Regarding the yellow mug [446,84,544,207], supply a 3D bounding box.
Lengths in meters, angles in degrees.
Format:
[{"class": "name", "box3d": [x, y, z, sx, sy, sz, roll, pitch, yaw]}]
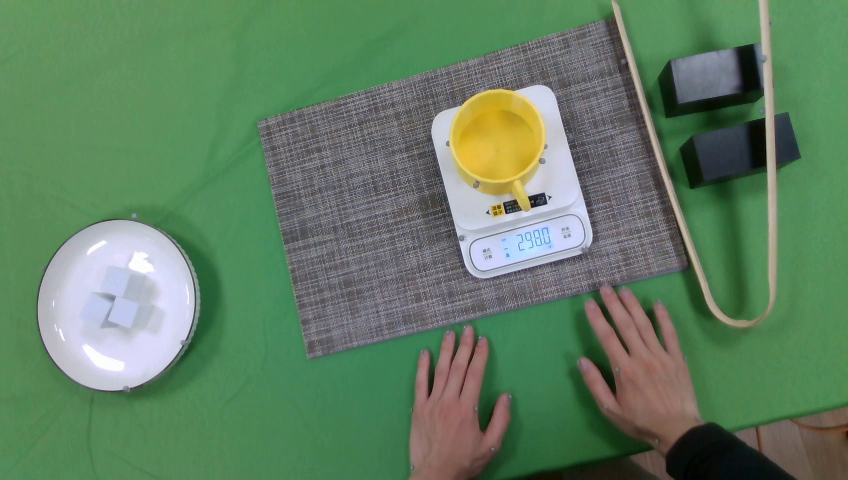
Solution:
[{"class": "yellow mug", "box3d": [0.082, -0.095, 0.648, 0.100, 0.064, 0.130, -25, 84, 4]}]

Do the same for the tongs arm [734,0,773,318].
[{"class": "tongs arm", "box3d": [0.334, -0.111, 0.627, 0.050, 0.026, 0.384, -5, 91, 34]}]

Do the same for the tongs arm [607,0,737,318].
[{"class": "tongs arm", "box3d": [0.269, -0.098, 0.675, 0.028, 0.028, 0.386, -20, 82, 30]}]

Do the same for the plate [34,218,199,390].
[{"class": "plate", "box3d": [-0.370, 0.077, 0.742, 0.207, 0.039, 0.207, -1, 85, 7]}]

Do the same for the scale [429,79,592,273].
[{"class": "scale", "box3d": [0.097, -0.074, 0.692, 0.148, 0.031, 0.200, -15, 84, 6]}]
